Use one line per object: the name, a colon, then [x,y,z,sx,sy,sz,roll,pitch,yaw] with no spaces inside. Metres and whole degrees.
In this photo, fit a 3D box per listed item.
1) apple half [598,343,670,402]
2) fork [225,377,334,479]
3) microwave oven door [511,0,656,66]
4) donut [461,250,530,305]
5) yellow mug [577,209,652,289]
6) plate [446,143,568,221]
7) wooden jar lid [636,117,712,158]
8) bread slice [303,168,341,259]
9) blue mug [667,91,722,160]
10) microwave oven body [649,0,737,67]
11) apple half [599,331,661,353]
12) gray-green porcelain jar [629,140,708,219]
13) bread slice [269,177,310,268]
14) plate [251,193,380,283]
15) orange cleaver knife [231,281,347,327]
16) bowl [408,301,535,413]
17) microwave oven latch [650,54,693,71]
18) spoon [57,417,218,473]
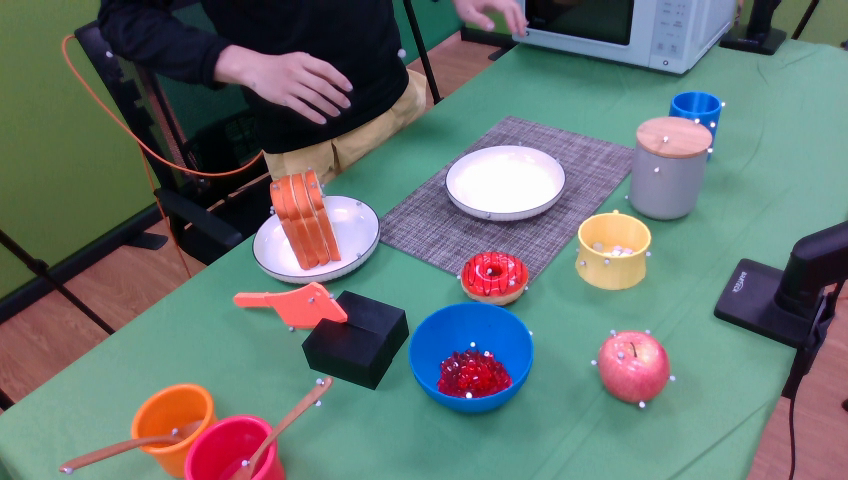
apple half: [0.247,0.161,0.710,0.081,0.075,0.053,2,47,5]
fork: [-0.163,0.216,0.646,0.207,0.019,0.028,-49,42,16]
microwave oven door: [0.351,-0.540,1.350,0.353,0.245,0.039,24,51,31]
donut: [0.103,0.053,0.872,0.099,0.048,0.098,-5,40,4]
yellow mug: [0.279,0.004,0.893,0.099,0.064,0.130,5,41,15]
plate: [0.142,-0.097,1.045,0.207,0.039,0.206,-4,40,4]
wooden jar lid: [0.377,-0.151,0.917,0.108,0.021,0.108,-2,41,3]
bread slice: [-0.161,-0.046,0.952,0.018,0.135,0.106,-18,45,-6]
blue mug: [0.474,-0.207,1.079,0.082,0.106,0.116,4,42,13]
microwave oven body: [0.475,-0.602,1.411,0.438,0.261,0.327,23,50,32]
apple half: [0.249,0.134,0.738,0.081,0.081,0.032,-2,46,7]
gray-green porcelain jar: [0.383,-0.105,0.958,0.106,0.127,0.105,-4,41,4]
bread slice: [-0.211,-0.034,0.946,0.019,0.132,0.104,-19,39,-3]
plate: [-0.173,-0.001,0.984,0.209,0.038,0.208,-4,41,4]
orange cleaver knife: [-0.192,0.093,0.844,0.210,0.077,0.012,-7,31,38]
bowl: [0.060,0.156,0.739,0.151,0.077,0.150,-4,40,4]
microwave oven latch: [0.531,-0.386,1.301,0.078,0.029,0.030,26,51,33]
spoon: [-0.304,0.221,0.661,0.041,0.195,0.021,19,92,27]
